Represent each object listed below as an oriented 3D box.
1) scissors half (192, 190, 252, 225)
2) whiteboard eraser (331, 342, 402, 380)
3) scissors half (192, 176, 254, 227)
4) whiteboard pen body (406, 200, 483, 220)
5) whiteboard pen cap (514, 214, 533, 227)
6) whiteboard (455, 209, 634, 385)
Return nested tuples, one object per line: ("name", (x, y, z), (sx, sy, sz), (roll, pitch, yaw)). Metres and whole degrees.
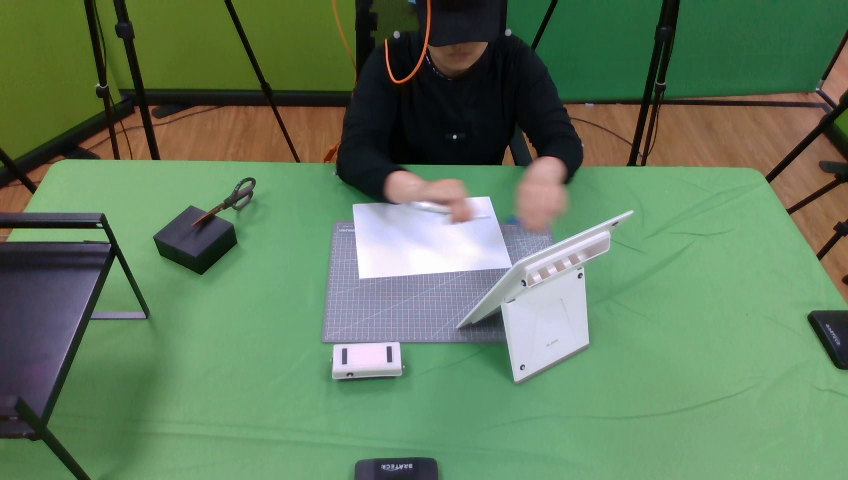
("scissors half", (-0.393, -0.060, 1.187), (0.013, 0.040, 0.175), (25, 29, 12))
("whiteboard eraser", (-0.094, 0.198, 0.986), (0.113, 0.042, 0.055), (-2, 44, -6))
("scissors half", (-0.388, -0.075, 1.175), (0.013, 0.040, 0.174), (29, 47, 8))
("whiteboard pen body", (0.038, -0.051, 1.072), (0.141, 0.017, 0.017), (10, 45, -12))
("whiteboard pen cap", (0.181, -0.035, 1.109), (0.033, 0.018, 0.018), (-22, 51, -8))
("whiteboard", (0.211, 0.111, 0.955), (0.217, 0.306, 0.143), (-21, 71, -23))
